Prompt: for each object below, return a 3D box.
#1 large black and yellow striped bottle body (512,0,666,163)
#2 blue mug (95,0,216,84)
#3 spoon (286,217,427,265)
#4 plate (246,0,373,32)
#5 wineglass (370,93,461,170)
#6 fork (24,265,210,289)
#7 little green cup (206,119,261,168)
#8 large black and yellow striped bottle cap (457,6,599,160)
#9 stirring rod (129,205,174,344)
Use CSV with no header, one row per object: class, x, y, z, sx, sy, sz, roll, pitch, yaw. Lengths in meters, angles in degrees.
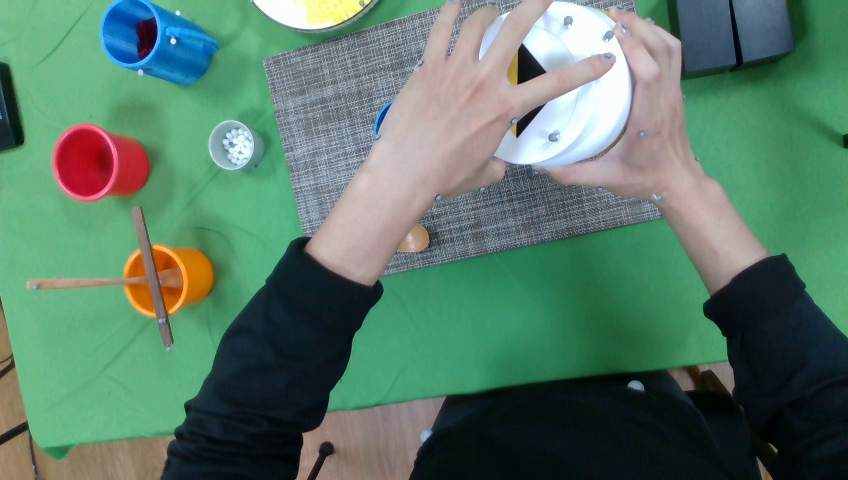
large black and yellow striped bottle body,0.125,-0.139,0.532,0.130,0.184,0.131,11,110,33
blue mug,-0.317,-0.244,0.745,0.116,0.106,0.082,1,94,11
spoon,-0.088,0.007,0.758,0.193,0.021,0.042,-13,113,12
plate,-0.134,-0.356,0.733,0.209,0.038,0.209,1,95,11
wineglass,-0.004,-0.112,0.654,0.073,0.172,0.074,1,94,12
fork,-0.377,0.049,0.759,0.208,0.018,0.028,-2,102,-32
little green cup,-0.241,-0.121,0.774,0.061,0.038,0.061,1,95,12
large black and yellow striped bottle cap,0.077,-0.119,0.467,0.114,0.019,0.115,11,111,34
stirring rod,-0.336,0.043,0.747,0.014,0.006,0.176,-13,92,14
